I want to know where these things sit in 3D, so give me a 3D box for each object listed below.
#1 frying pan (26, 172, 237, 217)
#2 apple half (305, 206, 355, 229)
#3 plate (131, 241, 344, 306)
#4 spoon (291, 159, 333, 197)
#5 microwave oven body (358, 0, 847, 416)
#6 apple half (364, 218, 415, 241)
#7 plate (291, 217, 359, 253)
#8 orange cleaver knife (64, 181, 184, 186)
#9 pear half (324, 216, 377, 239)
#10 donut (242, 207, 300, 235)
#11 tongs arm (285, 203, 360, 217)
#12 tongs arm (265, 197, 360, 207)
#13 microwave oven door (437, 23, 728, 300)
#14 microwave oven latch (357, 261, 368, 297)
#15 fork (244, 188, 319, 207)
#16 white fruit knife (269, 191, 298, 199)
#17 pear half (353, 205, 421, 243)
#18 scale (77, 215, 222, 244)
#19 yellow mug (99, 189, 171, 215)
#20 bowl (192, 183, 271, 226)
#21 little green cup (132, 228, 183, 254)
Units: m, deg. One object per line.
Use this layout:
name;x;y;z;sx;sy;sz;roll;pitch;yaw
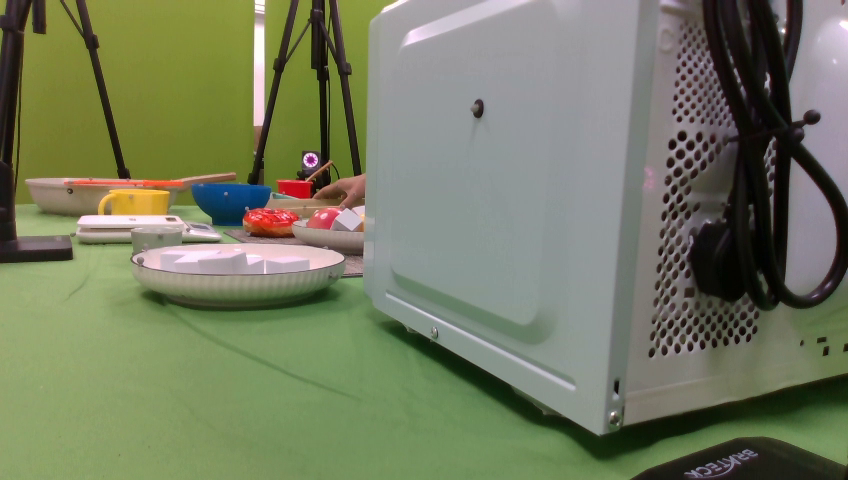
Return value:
frying pan;-0.624;-0.118;1.387;0.305;0.102;0.490;8;17;32
apple half;-0.138;-0.025;0.917;0.081;0.053;0.074;0;10;-43
plate;-0.187;0.033;0.625;0.208;0.039;0.207;2;7;0
spoon;-0.316;-0.159;1.640;0.194;0.022;0.041;-50;32;-20
microwave oven body;0.211;-0.047;0.475;0.444;0.260;0.324;-1;7;-28
apple half;-0.054;-0.019;0.967;0.081;0.033;0.081;-4;10;1
plate;-0.103;-0.009;0.945;0.209;0.038;0.209;2;7;0
orange cleaver knife;-0.595;-0.114;1.212;0.212;0.012;0.077;-4;6;-41
pear half;-0.119;-0.023;0.996;0.088;0.031;0.070;-4;23;-27
donut;-0.263;-0.032;1.039;0.099;0.048;0.099;4;9;0
tongs arm;-0.175;-0.076;1.409;0.387;0.026;0.050;-5;14;-33
tongs arm;-0.204;-0.089;1.456;0.389;0.028;0.028;-3;10;-27
microwave oven door;0.180;-0.072;0.621;0.358;0.243;0.039;-2;8;-29
microwave oven latch;-0.019;0.033;0.531;0.079;0.029;0.030;-1;7;-27
fork;-0.356;-0.105;1.526;0.208;0.018;0.028;16;-5;-41
white fruit knife;-0.364;-0.105;1.464;0.208;0.027;0.016;15;-1;-34
pear half;-0.051;-0.024;0.905;0.110;0.056;0.076;1;-1;-38
scale;-0.434;-0.019;0.963;0.202;0.031;0.148;-1;9;-27
yellow mug;-0.519;-0.055;1.080;0.099;0.064;0.131;6;9;26
bowl;-0.382;-0.071;1.202;0.151;0.077;0.151;3;7;0
little green cup;-0.342;0.006;0.779;0.061;0.038;0.061;2;8;0
